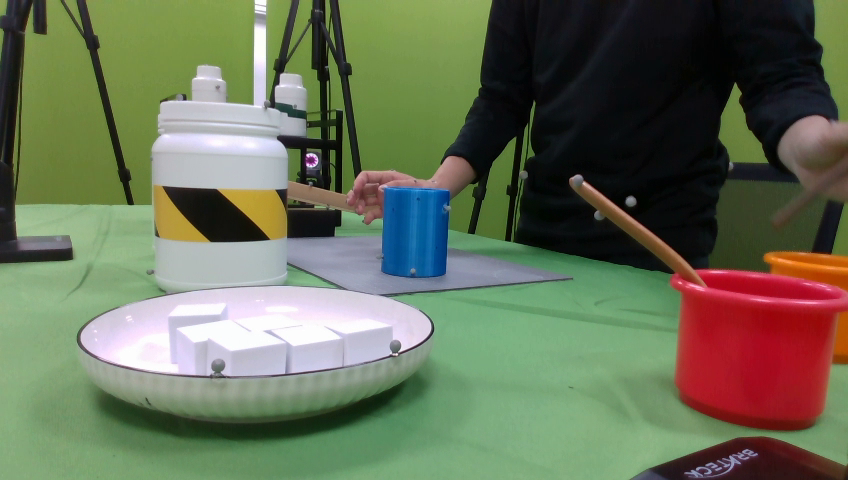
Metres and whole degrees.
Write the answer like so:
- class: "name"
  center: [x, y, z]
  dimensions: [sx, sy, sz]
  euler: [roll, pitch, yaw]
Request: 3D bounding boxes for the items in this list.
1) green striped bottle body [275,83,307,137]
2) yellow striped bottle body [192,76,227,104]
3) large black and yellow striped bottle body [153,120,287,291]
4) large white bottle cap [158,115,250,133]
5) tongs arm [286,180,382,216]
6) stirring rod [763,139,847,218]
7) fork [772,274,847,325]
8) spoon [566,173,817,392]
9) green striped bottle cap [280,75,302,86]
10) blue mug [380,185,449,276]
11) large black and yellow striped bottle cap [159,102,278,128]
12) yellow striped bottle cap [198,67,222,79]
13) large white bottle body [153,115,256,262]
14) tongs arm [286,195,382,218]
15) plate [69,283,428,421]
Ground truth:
- class: "green striped bottle body"
  center: [-0.269, -0.269, 1.221]
  dimensions: [0.063, 0.119, 0.063]
  euler: [2, 7, 0]
- class: "yellow striped bottle body"
  center: [-0.414, -0.268, 1.169]
  dimensions: [0.063, 0.120, 0.063]
  euler: [2, 7, 0]
- class: "large black and yellow striped bottle body"
  center: [-0.208, -0.042, 0.626]
  dimensions: [0.131, 0.184, 0.130]
  euler: [2, 7, 0]
- class: "large white bottle cap"
  center: [-0.291, -0.153, 0.803]
  dimensions: [0.115, 0.018, 0.115]
  euler: [1, 7, 0]
- class: "tongs arm"
  center: [-0.122, -0.066, 1.147]
  dimensions: [0.387, 0.026, 0.050]
  euler: [11, -2, -37]
- class: "stirring rod"
  center: [0.343, -0.080, 0.481]
  dimensions: [0.014, 0.176, 0.006]
  euler: [24, 26, -54]
- class: "fork"
  center: [0.332, 0.019, 0.444]
  dimensions: [0.028, 0.018, 0.207]
  euler: [0, -36, -14]
- class: "spoon"
  center: [0.161, 0.024, 0.370]
  dimensions: [0.193, 0.021, 0.042]
  euler: [46, 17, 3]
- class: "green striped bottle cap"
  center: [-0.267, -0.320, 1.216]
  dimensions: [0.044, 0.020, 0.044]
  euler: [4, 9, 0]
- class: "blue mug"
  center: [-0.018, -0.016, 0.764]
  dimensions: [0.083, 0.106, 0.116]
  euler: [-1, 8, -25]
- class: "large black and yellow striped bottle cap"
  center: [-0.207, -0.125, 0.615]
  dimensions: [0.115, 0.019, 0.115]
  euler: [2, 6, 0]
- class: "yellow striped bottle cap"
  center: [-0.412, -0.320, 1.162]
  dimensions: [0.044, 0.018, 0.044]
  euler: [0, 5, 0]
- class: "large white bottle body"
  center: [-0.293, -0.070, 0.813]
  dimensions: [0.131, 0.184, 0.130]
  euler: [2, 7, 0]
- class: "tongs arm"
  center: [-0.165, -0.074, 1.216]
  dimensions: [0.389, 0.027, 0.028]
  euler: [11, -6, -24]
- class: "plate"
  center: [-0.102, 0.066, 0.381]
  dimensions: [0.208, 0.039, 0.207]
  euler: [2, 7, 0]
